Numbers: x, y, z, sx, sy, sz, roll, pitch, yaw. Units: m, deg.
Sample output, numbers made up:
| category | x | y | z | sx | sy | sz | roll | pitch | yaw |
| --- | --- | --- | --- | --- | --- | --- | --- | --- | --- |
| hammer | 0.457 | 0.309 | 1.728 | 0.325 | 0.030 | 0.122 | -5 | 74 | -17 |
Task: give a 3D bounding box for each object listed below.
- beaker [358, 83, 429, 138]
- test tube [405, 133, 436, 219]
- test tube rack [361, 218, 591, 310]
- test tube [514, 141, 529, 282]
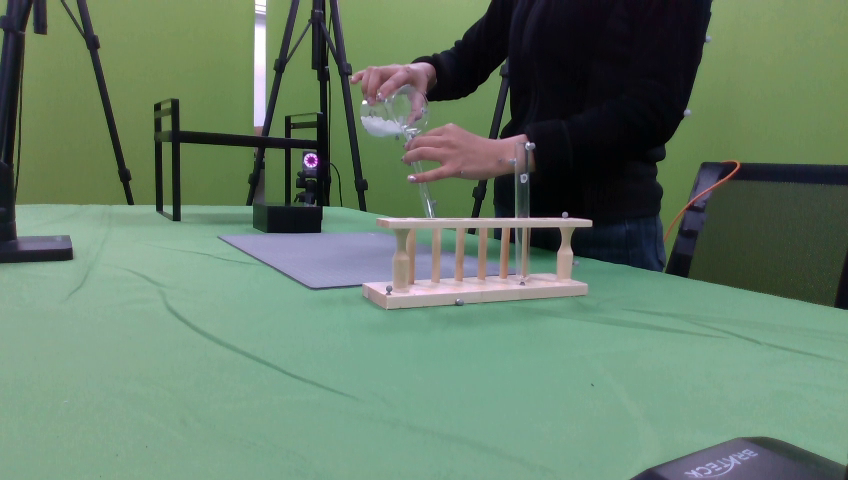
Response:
| category | x | y | z | sx | sy | sz | roll | pitch | yaw |
| --- | --- | --- | --- | --- | --- | --- | --- | --- | --- |
| beaker | -0.051 | -0.201 | 0.963 | 0.074 | 0.084 | 0.100 | 0 | 3 | -39 |
| test tube | -0.006 | -0.095 | 0.900 | 0.017 | 0.150 | 0.017 | -12 | -23 | -5 |
| test tube rack | 0.059 | 0.019 | 0.640 | 0.243 | 0.085 | 0.066 | -1 | 8 | -27 |
| test tube | 0.103 | -0.028 | 0.636 | 0.017 | 0.150 | 0.017 | -2 | 12 | 1 |
